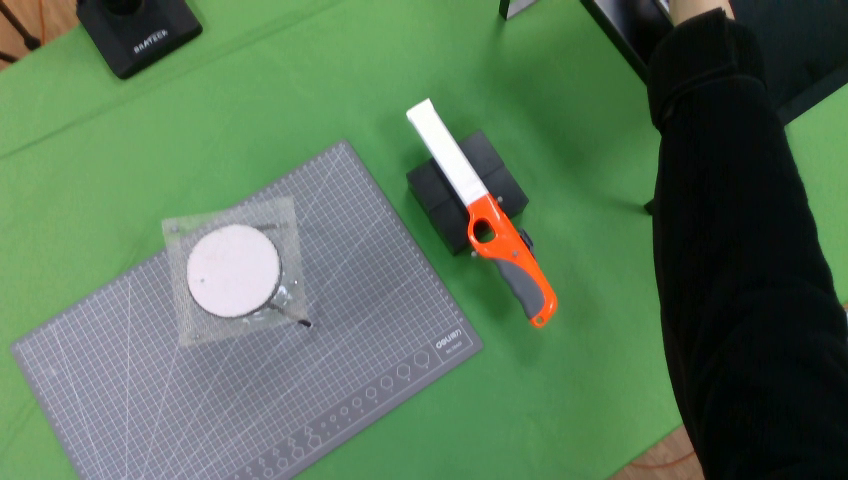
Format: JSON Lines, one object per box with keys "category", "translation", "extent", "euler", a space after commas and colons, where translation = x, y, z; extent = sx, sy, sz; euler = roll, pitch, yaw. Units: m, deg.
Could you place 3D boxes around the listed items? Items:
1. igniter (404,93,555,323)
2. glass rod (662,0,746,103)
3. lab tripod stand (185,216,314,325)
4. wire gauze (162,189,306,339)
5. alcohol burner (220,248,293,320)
{"category": "igniter", "translation": [0.060, -0.037, 0.650], "extent": [0.057, 0.025, 0.275], "euler": [-31, 81, -2]}
{"category": "glass rod", "translation": [0.232, -0.205, 0.552], "extent": [0.008, 0.008, 0.199], "euler": [-33, 83, -5]}
{"category": "lab tripod stand", "translation": [-0.179, 0.031, 0.631], "extent": [0.148, 0.132, 0.147], "euler": [0, 79, 2]}
{"category": "wire gauze", "translation": [-0.176, 0.021, 0.564], "extent": [0.121, 0.011, 0.124], "euler": [-10, 80, -2]}
{"category": "alcohol burner", "translation": [-0.181, 0.045, 0.638], "extent": [0.078, 0.119, 0.077], "euler": [0, 82, 0]}
